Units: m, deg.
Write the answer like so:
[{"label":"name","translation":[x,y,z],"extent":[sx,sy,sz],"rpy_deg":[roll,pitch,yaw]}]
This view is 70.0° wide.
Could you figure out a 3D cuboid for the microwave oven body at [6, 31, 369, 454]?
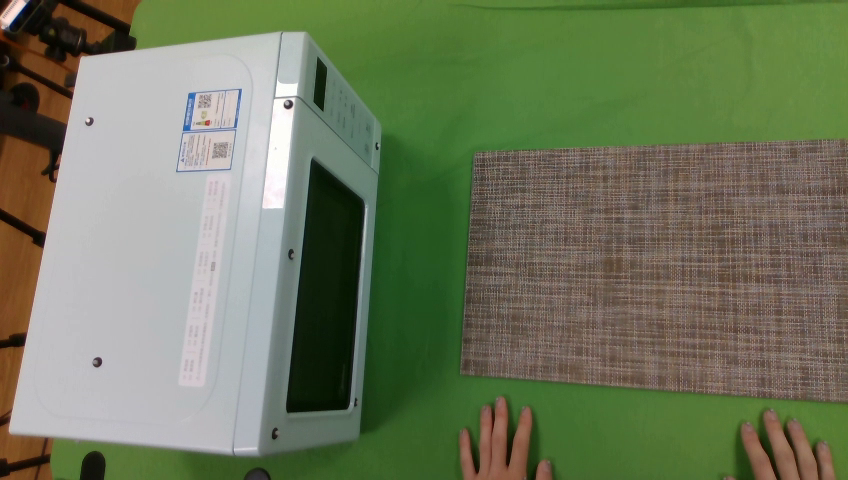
[{"label":"microwave oven body","translation":[-0.262,0.017,0.752],"extent":[0.325,0.262,0.439],"rpy_deg":[-1,77,15]}]

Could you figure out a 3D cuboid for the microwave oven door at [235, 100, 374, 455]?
[{"label":"microwave oven door","translation":[-0.125,0.053,0.699],"extent":[0.039,0.245,0.354],"rpy_deg":[-2,76,16]}]

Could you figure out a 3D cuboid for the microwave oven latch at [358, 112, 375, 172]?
[{"label":"microwave oven latch","translation":[-0.084,-0.135,0.841],"extent":[0.030,0.030,0.079],"rpy_deg":[0,78,15]}]
